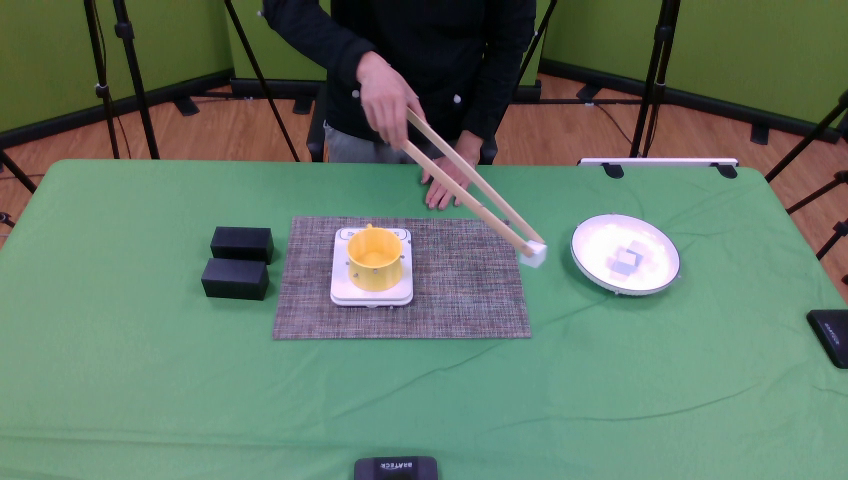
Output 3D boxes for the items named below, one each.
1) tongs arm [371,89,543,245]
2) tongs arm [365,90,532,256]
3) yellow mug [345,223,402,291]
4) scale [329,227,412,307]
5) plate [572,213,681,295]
[{"bbox_3d":[0.055,-0.128,1.039,0.387,0.028,0.028,44,63,7],"label":"tongs arm"},{"bbox_3d":[0.040,-0.115,1.026,0.384,0.026,0.050,40,59,5],"label":"tongs arm"},{"bbox_3d":[-0.092,0.022,1.093,0.100,0.064,0.130,-8,46,-10],"label":"yellow mug"},{"bbox_3d":[-0.099,0.042,1.139,0.149,0.032,0.199,1,46,-4],"label":"scale"},{"bbox_3d":[0.393,0.030,1.189,0.208,0.039,0.206,2,46,-2],"label":"plate"}]
